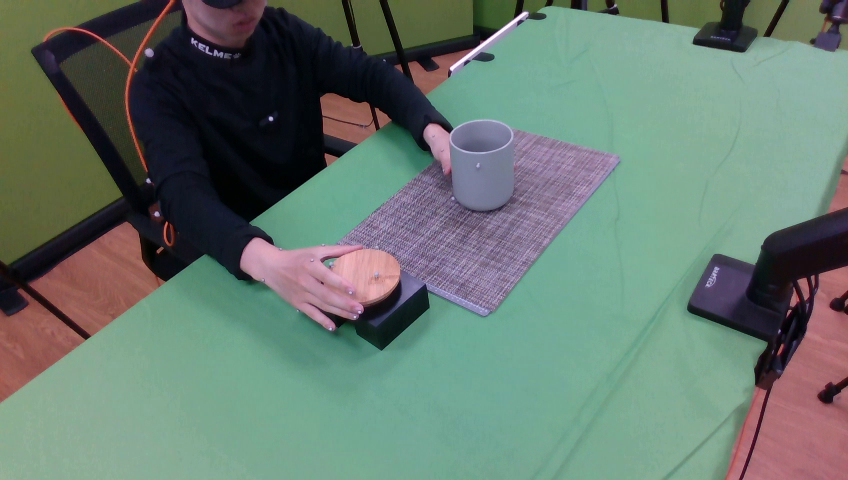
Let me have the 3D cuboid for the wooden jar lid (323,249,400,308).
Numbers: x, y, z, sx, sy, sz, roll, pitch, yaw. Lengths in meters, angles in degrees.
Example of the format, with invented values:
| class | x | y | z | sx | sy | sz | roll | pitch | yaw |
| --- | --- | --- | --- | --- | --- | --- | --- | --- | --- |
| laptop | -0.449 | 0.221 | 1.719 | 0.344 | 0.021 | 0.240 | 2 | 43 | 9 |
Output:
| class | x | y | z | sx | sy | sz | roll | pitch | yaw |
| --- | --- | --- | --- | --- | --- | --- | --- | --- | --- |
| wooden jar lid | -0.086 | 0.055 | 0.841 | 0.108 | 0.021 | 0.108 | -5 | 40 | 4 |

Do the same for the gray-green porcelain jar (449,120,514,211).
| class | x | y | z | sx | sy | sz | roll | pitch | yaw |
| --- | --- | --- | --- | --- | --- | --- | --- | --- | --- |
| gray-green porcelain jar | 0.097 | -0.120 | 1.009 | 0.106 | 0.127 | 0.105 | -4 | 41 | 4 |
